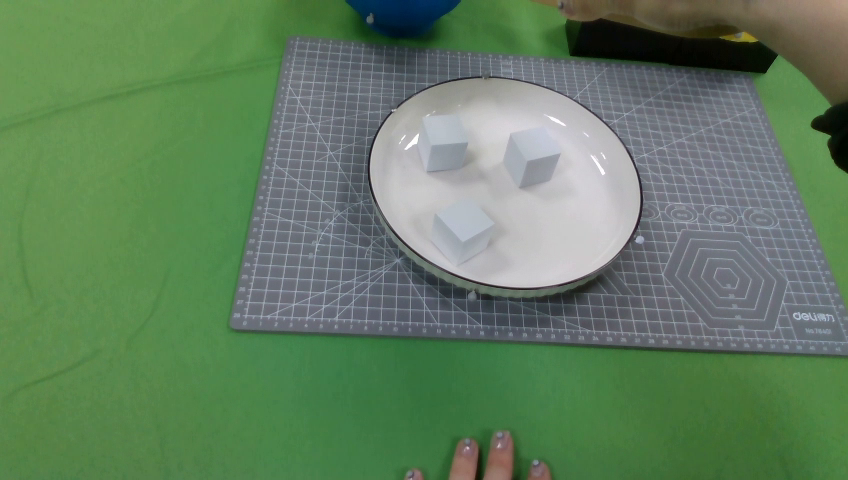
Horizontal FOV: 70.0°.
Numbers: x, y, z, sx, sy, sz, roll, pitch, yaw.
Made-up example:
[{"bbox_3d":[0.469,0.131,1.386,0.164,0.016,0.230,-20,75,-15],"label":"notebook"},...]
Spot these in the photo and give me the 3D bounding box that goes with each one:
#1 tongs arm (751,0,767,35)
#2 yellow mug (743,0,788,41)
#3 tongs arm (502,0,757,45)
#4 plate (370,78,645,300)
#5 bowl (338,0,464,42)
[{"bbox_3d":[0.069,-0.209,0.444,0.051,0.027,0.380,-37,45,-22],"label":"tongs arm"},{"bbox_3d":[0.271,-0.234,0.546,0.131,0.064,0.099,-11,58,-12],"label":"yellow mug"},{"bbox_3d":[0.045,-0.193,0.435,0.028,0.028,0.383,-32,44,-22],"label":"tongs arm"},{"bbox_3d":[0.062,-0.041,0.469,0.208,0.039,0.205,3,56,-4],"label":"plate"},{"bbox_3d":[-0.024,-0.243,0.573,0.151,0.077,0.150,3,56,-4],"label":"bowl"}]
